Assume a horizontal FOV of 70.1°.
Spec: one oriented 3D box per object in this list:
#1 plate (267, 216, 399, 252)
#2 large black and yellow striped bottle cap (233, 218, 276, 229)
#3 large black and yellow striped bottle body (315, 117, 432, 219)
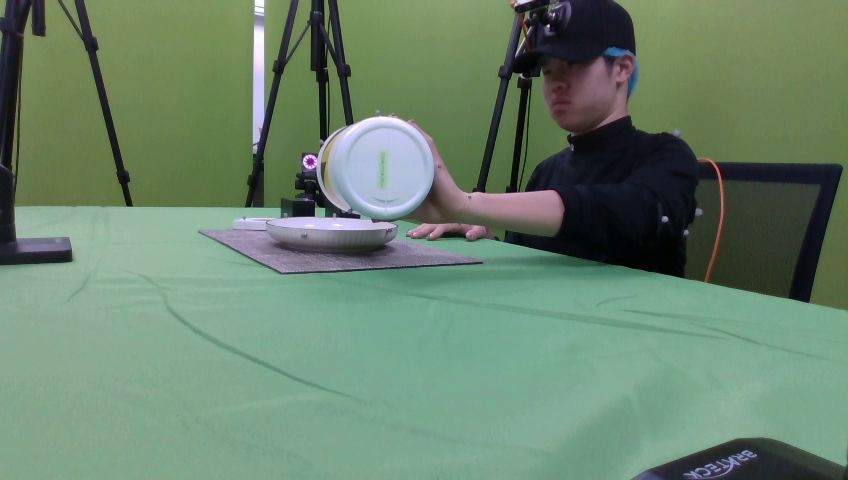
[{"bbox_3d":[-0.145,-0.010,0.967,0.208,0.039,0.207,2,7,0],"label":"plate"},{"bbox_3d":[-0.311,-0.032,1.172,0.115,0.019,0.115,1,4,0],"label":"large black and yellow striped bottle cap"},{"bbox_3d":[-0.078,-0.097,0.834,0.131,0.130,0.183,0,5,-20],"label":"large black and yellow striped bottle body"}]
